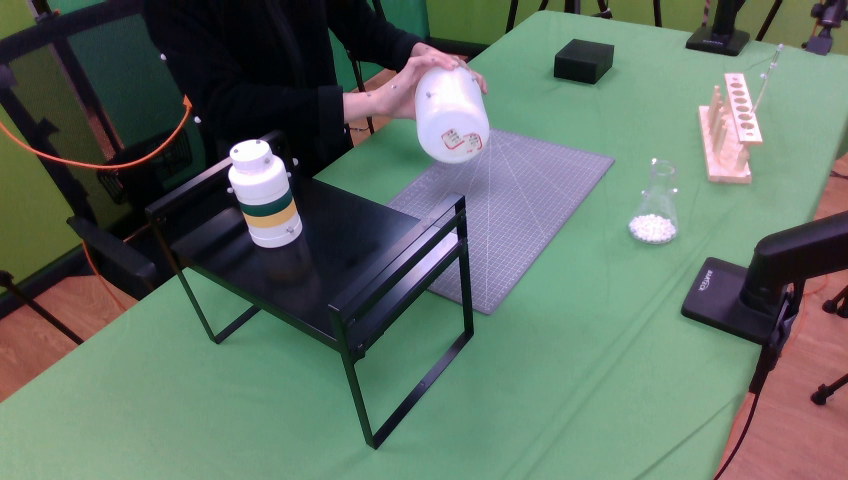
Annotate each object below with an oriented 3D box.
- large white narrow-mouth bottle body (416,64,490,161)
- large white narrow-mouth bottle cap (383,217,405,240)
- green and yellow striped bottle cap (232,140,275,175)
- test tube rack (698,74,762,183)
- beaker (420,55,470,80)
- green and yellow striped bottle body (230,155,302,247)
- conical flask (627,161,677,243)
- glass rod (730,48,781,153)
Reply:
[{"bbox_3d":[0.038,-0.205,0.904,0.102,0.102,0.193,-6,38,1],"label":"large white narrow-mouth bottle body"},{"bbox_3d":[-0.050,-0.019,1.004,0.038,0.024,0.037,-4,39,4],"label":"large white narrow-mouth bottle cap"},{"bbox_3d":[-0.192,-0.094,0.680,0.045,0.020,0.045,-5,39,5],"label":"green and yellow striped bottle cap"},{"bbox_3d":[0.547,-0.208,1.095,0.066,0.085,0.242,5,42,15],"label":"test tube rack"},{"bbox_3d":[0.036,-0.263,1.044,0.084,0.100,0.074,-15,80,-2],"label":"beaker"},{"bbox_3d":[-0.188,-0.055,0.714,0.063,0.120,0.063,-4,41,4],"label":"green and yellow striped bottle body"},{"bbox_3d":[0.355,-0.061,0.921,0.075,0.122,0.075,-4,41,4],"label":"conical flask"},{"bbox_3d":[0.554,-0.228,1.015,0.008,0.200,0.008,1,44,-1],"label":"glass rod"}]
